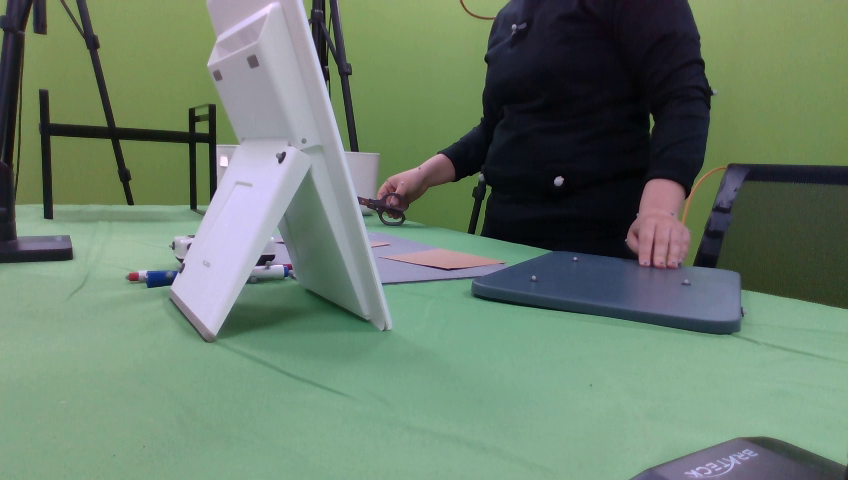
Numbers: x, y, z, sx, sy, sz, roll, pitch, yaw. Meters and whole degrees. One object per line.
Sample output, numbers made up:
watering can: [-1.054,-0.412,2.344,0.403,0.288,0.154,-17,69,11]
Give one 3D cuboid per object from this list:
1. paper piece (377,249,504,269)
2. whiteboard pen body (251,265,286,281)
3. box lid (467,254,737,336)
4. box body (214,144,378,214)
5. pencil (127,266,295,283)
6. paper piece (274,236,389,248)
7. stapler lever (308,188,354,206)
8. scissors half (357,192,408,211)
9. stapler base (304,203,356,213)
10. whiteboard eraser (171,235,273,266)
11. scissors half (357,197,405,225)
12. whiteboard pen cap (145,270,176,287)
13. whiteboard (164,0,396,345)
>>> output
paper piece: [0.026,0.026,0.865,0.134,0.004,0.136,9,9,43]
whiteboard pen body: [-0.220,0.039,0.656,0.141,0.017,0.017,-2,9,-31]
box lid: [0.234,0.055,0.736,0.262,0.015,0.373,7,7,26]
box body: [-0.328,-0.154,1.543,0.366,0.160,0.253,-2,9,-32]
pencil: [-0.231,0.037,0.690,0.195,0.012,0.012,-2,9,-34]
paper piece: [-0.151,0.003,0.978,0.135,0.008,0.139,13,10,35]
stapler lever: [-0.231,-0.106,1.509,0.119,0.040,0.026,2,9,-35]
scissors half: [-0.123,-0.090,1.319,0.175,0.040,0.013,5,3,-5]
stapler base: [-0.235,-0.081,1.511,0.131,0.024,0.041,1,9,-35]
whiteboard eraser: [-0.248,0.014,0.747,0.113,0.042,0.055,-1,10,-32]
scissors half: [-0.127,-0.071,1.320,0.175,0.040,0.013,21,-4,-4]
whiteboard pen cap: [-0.271,0.039,0.627,0.033,0.018,0.018,-3,10,-32]
whiteboard: [-0.172,-0.053,0.511,0.144,0.305,0.216,-23,19,-26]
